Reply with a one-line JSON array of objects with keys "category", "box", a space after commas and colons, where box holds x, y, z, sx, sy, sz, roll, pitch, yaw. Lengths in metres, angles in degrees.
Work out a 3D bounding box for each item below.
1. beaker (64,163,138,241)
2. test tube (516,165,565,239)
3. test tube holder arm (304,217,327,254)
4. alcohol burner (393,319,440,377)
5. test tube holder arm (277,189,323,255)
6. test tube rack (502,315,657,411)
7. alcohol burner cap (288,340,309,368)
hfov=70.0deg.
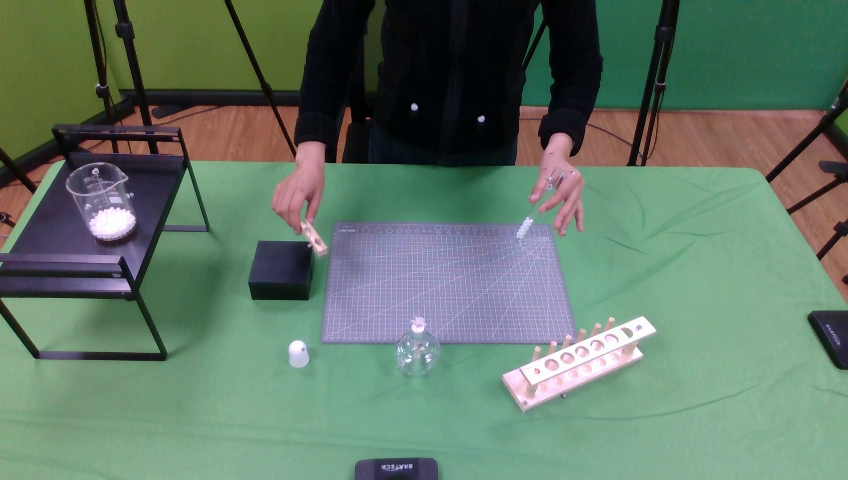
[{"category": "beaker", "box": [-0.477, -0.055, 0.910, 0.084, 0.101, 0.073, -9, 47, -13]}, {"category": "test tube", "box": [0.184, -0.058, 0.974, 0.017, 0.150, 0.017, 15, 39, -12]}, {"category": "test tube holder arm", "box": [-0.190, -0.008, 1.036, 0.010, 0.015, 0.087, -19, 49, -28]}, {"category": "alcohol burner", "box": [-0.011, 0.166, 0.971, 0.078, 0.120, 0.077, 1, 45, -1]}, {"category": "test tube holder arm", "box": [-0.219, -0.034, 1.059, 0.013, 0.015, 0.177, -20, 50, -29]}, {"category": "test tube rack", "box": [0.253, 0.186, 0.988, 0.242, 0.085, 0.066, -18, 51, -20]}, {"category": "alcohol burner cap", "box": [-0.207, 0.183, 0.991, 0.034, 0.048, 0.033, 2, 47, -2]}]
